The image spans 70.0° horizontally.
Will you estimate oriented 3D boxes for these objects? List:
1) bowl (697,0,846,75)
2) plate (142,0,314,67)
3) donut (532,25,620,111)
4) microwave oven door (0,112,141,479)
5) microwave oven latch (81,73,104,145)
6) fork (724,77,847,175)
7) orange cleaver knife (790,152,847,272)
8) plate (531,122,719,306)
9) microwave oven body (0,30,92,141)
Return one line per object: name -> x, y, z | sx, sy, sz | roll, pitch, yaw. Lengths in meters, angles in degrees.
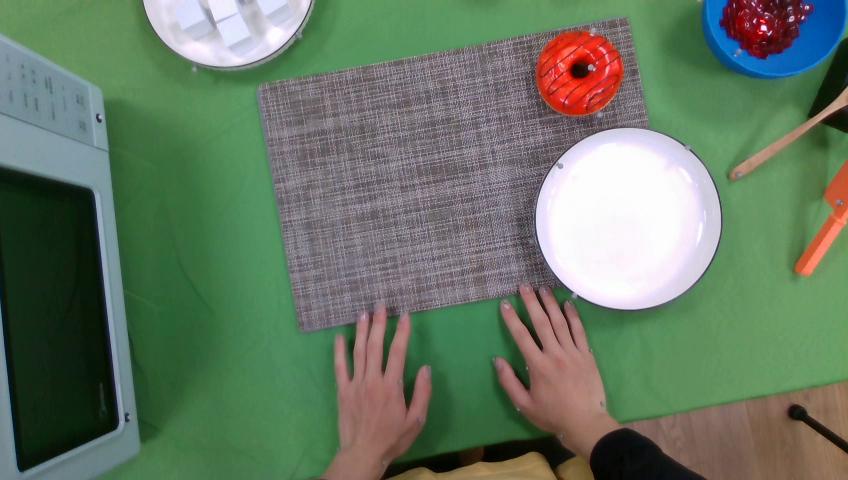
bowl -> 0.373, -0.251, 0.680 | 0.151, 0.077, 0.151 | 0, 89, 2
plate -> -0.228, -0.305, 0.722 | 0.207, 0.039, 0.207 | 0, 88, 2
donut -> 0.174, -0.197, 0.697 | 0.099, 0.048, 0.099 | 0, 89, 4
microwave oven door -> -0.373, 0.063, 0.594 | 0.039, 0.244, 0.355 | -8, 87, 2
microwave oven latch -> -0.394, -0.150, 0.703 | 0.030, 0.029, 0.079 | -6, 89, 1
fork -> 0.428, -0.138, 0.670 | 0.207, 0.018, 0.028 | -39, 93, 20
orange cleaver knife -> 0.467, -0.062, 0.669 | 0.012, 0.077, 0.212 | 21, 118, 1
plate -> 0.226, -0.029, 0.694 | 0.209, 0.038, 0.209 | 0, 88, 2
microwave oven body -> -0.523, 0.040, 0.605 | 0.326, 0.260, 0.441 | -7, 88, 1
